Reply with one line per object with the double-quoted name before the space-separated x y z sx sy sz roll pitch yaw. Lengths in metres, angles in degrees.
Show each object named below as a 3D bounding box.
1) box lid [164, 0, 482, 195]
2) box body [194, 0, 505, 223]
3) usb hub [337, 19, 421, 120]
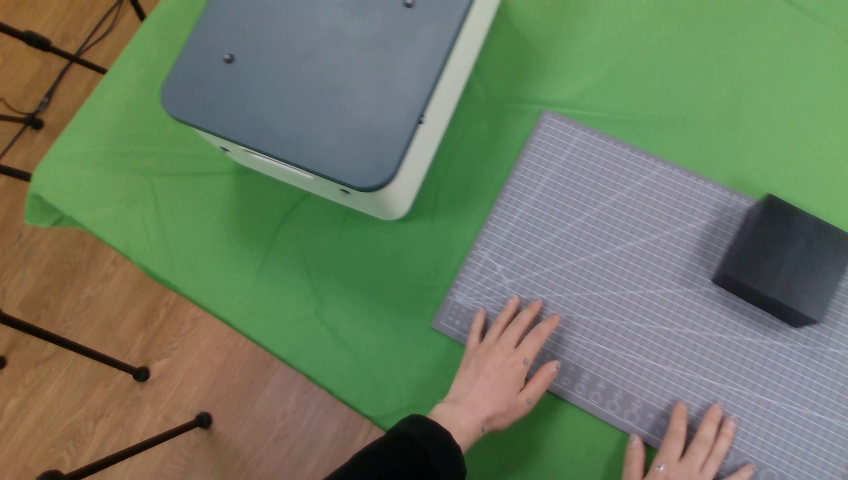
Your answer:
"box lid" -0.083 -0.244 0.624 0.262 0.015 0.370 22 80 10
"box body" -0.074 -0.227 0.695 0.253 0.161 0.363 22 79 10
"usb hub" -0.055 -0.212 0.751 0.049 0.025 0.125 26 78 13
